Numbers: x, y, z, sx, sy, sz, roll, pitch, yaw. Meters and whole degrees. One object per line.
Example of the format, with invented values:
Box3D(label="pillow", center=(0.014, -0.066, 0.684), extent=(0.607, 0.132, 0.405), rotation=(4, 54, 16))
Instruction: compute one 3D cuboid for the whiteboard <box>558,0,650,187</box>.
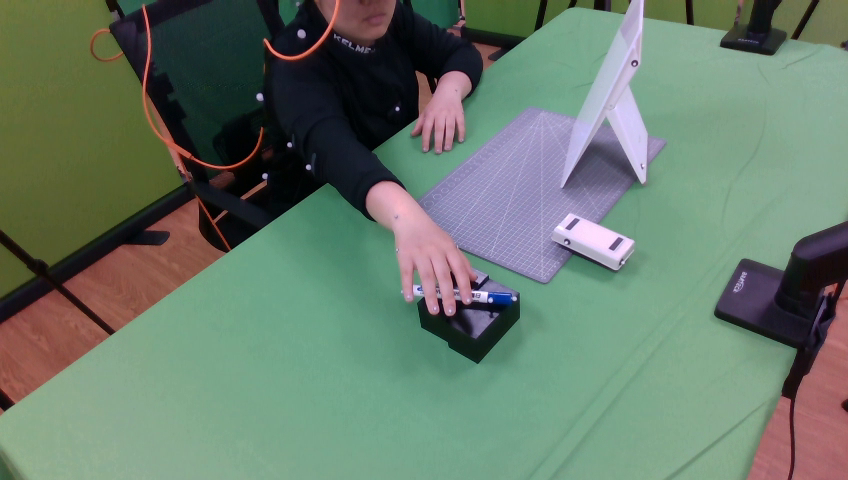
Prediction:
Box3D(label="whiteboard", center=(0.362, -0.238, 1.026), extent=(0.144, 0.306, 0.217), rotation=(21, 44, 3))

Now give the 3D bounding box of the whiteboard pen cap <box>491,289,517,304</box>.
Box3D(label="whiteboard pen cap", center=(0.105, 0.074, 0.798), extent=(0.033, 0.018, 0.018), rotation=(-8, 37, -28))

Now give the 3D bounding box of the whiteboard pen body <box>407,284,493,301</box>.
Box3D(label="whiteboard pen body", center=(0.045, 0.071, 0.812), extent=(0.140, 0.017, 0.017), rotation=(3, 42, 14))

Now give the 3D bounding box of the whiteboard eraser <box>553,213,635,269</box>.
Box3D(label="whiteboard eraser", center=(0.257, 0.003, 0.918), extent=(0.112, 0.042, 0.056), rotation=(27, 50, 30))
